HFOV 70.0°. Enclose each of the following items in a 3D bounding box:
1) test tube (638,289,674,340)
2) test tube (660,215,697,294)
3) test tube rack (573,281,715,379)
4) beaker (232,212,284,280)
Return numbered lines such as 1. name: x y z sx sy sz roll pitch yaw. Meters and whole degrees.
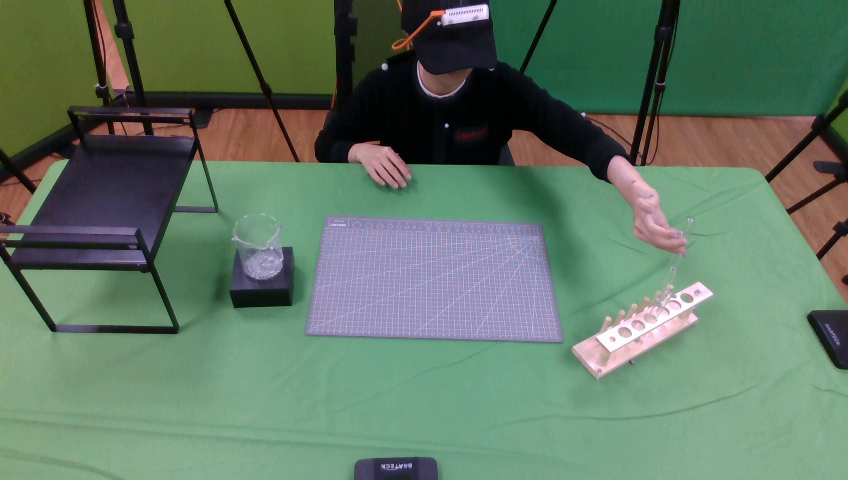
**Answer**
1. test tube: 0.374 0.124 0.983 0.017 0.151 0.017 0 54 0
2. test tube: 0.417 0.026 0.994 0.017 0.151 0.017 4 32 -3
3. test tube rack: 0.378 0.140 1.038 0.242 0.085 0.066 -22 51 -23
4. beaker: -0.280 0.016 1.037 0.074 0.101 0.083 -18 50 -20
